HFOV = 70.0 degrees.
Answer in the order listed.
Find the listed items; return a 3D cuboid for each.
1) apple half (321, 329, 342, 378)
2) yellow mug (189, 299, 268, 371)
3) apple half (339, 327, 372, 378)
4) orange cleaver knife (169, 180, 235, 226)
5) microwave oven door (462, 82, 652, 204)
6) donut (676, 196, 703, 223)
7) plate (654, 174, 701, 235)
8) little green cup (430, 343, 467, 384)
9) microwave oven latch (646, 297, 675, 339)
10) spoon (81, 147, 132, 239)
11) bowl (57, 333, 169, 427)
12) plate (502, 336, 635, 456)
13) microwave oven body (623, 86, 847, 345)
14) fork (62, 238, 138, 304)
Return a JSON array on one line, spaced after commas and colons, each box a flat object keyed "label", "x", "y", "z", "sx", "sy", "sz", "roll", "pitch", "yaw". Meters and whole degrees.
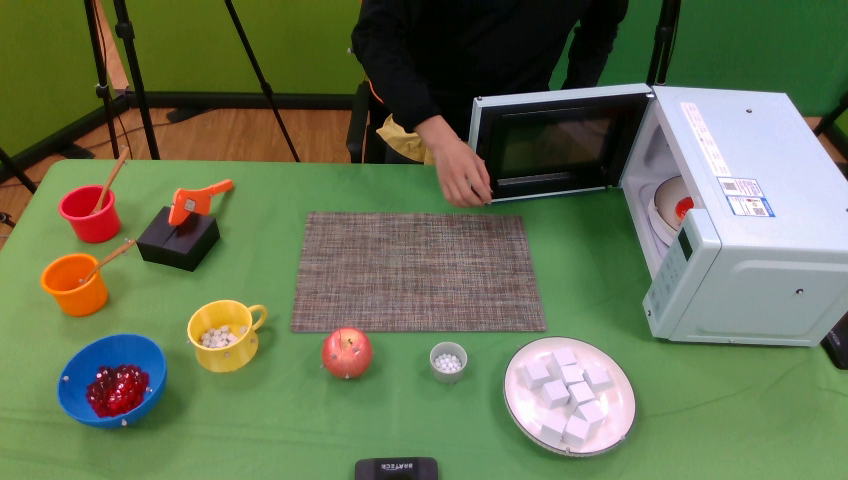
[{"label": "apple half", "x": -0.149, "y": 0.186, "z": 0.972, "sx": 0.033, "sy": 0.081, "sz": 0.080, "roll": -2, "pitch": 46, "yaw": -12}, {"label": "yellow mug", "x": -0.316, "y": 0.148, "z": 1.002, "sx": 0.131, "sy": 0.064, "sz": 0.099, "roll": -33, "pitch": 56, "yaw": -31}, {"label": "apple half", "x": -0.111, "y": 0.182, "z": 0.980, "sx": 0.053, "sy": 0.075, "sz": 0.080, "roll": -2, "pitch": 42, "yaw": -12}, {"label": "orange cleaver knife", "x": -0.436, "y": -0.076, "z": 1.199, "sx": 0.012, "sy": 0.077, "sz": 0.211, "roll": 17, "pitch": 17, "yaw": 9}, {"label": "microwave oven door", "x": 0.261, "y": -0.194, "z": 1.226, "sx": 0.356, "sy": 0.245, "sz": 0.039, "roll": -8, "pitch": 47, "yaw": -11}, {"label": "donut", "x": 0.538, "y": -0.049, "z": 1.171, "sx": 0.099, "sy": 0.048, "sz": 0.098, "roll": 2, "pitch": 43, "yaw": -2}, {"label": "plate", "x": 0.555, "y": -0.049, "z": 1.186, "sx": 0.209, "sy": 0.038, "sz": 0.208, "roll": 2, "pitch": 46, "yaw": -1}, {"label": "little green cup", "x": 0.039, "y": 0.203, "z": 0.994, "sx": 0.061, "sy": 0.039, "sz": 0.061, "roll": 2, "pitch": 46, "yaw": -2}, {"label": "microwave oven latch", "x": 0.412, "y": 0.134, "z": 1.061, "sx": 0.030, "sy": 0.029, "sz": 0.078, "roll": 4, "pitch": 45, "yaw": 1}, {"label": "spoon", "x": -0.603, "y": -0.089, "z": 1.156, "sx": 0.041, "sy": 0.022, "sz": 0.193, "roll": 28, "pitch": 95, "yaw": 18}, {"label": "bowl", "x": -0.456, "y": 0.223, "z": 0.912, "sx": 0.151, "sy": 0.077, "sz": 0.150, "roll": 3, "pitch": 45, "yaw": -3}, {"label": "plate", "x": 0.225, "y": 0.248, "z": 0.963, "sx": 0.208, "sy": 0.039, "sz": 0.206, "roll": 2, "pitch": 46, "yaw": -2}, {"label": "microwave oven body", "x": 0.567, "y": -0.053, "z": 1.118, "sx": 0.326, "sy": 0.261, "sz": 0.439, "roll": 2, "pitch": 45, "yaw": -1}, {"label": "fork", "x": -0.547, "y": 0.053, "z": 1.018, "sx": 0.207, "sy": 0.019, "sz": 0.028, "roll": -36, "pitch": 41, "yaw": 23}]
